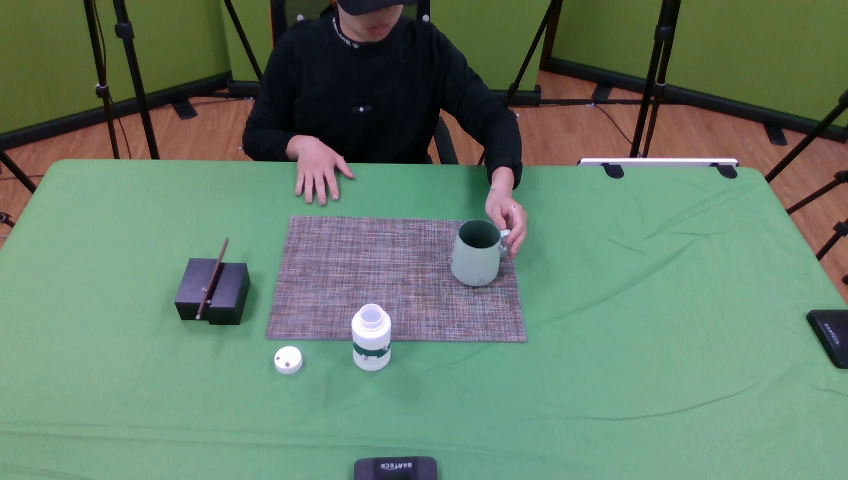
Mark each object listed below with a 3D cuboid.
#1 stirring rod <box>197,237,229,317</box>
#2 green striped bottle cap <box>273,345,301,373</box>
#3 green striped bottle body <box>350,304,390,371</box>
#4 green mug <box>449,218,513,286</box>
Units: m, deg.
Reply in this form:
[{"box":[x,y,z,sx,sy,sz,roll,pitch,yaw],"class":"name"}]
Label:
[{"box":[-0.363,0.060,1.047,0.006,0.014,0.175,7,46,-3],"class":"stirring rod"},{"box":[-0.225,0.195,0.997,0.044,0.020,0.044,1,50,-1],"class":"green striped bottle cap"},{"box":[-0.086,0.154,0.976,0.063,0.120,0.063,2,46,-2],"class":"green striped bottle body"},{"box":[0.110,0.018,1.126,0.125,0.105,0.092,-19,50,-21],"class":"green mug"}]
